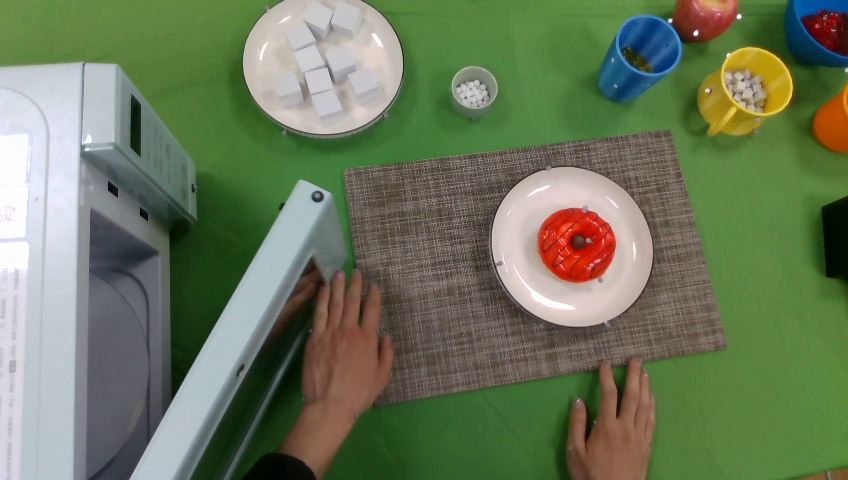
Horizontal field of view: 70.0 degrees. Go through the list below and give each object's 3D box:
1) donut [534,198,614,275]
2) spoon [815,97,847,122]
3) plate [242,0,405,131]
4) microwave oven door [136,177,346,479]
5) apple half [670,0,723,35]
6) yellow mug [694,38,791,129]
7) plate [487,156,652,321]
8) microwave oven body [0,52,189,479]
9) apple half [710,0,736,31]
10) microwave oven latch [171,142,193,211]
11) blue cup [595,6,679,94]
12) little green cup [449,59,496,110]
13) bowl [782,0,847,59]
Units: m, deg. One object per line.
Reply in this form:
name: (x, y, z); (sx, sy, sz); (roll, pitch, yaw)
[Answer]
donut: (0.186, -0.004, 0.754); (0.099, 0.048, 0.098); (1, 78, -3)
spoon: (0.613, -0.160, 0.783); (0.041, 0.192, 0.022); (-50, 129, -12)
plate: (-0.130, -0.236, 0.797); (0.208, 0.039, 0.206); (1, 77, -4)
microwave oven door: (-0.177, 0.129, 0.587); (0.039, 0.244, 0.354); (25, 76, 3)
apple half: (0.371, -0.327, 0.840); (0.053, 0.075, 0.080); (-3, 80, -2)
yellow mug: (0.420, -0.200, 0.819); (0.100, 0.064, 0.130); (39, 78, 4)
plate: (0.180, -0.001, 0.765); (0.209, 0.038, 0.208); (1, 77, -4)
microwave oven body: (-0.415, 0.086, 0.583); (0.326, 0.261, 0.439); (-5, 78, -6)
apple half: (0.410, -0.330, 0.842); (0.033, 0.081, 0.081); (-2, 77, -2)
microwave oven latch: (-0.294, -0.076, 0.728); (0.030, 0.029, 0.079); (-1, 78, -5)
blue cup: (0.271, -0.241, 0.798); (0.093, 0.100, 0.092); (1, 79, -5)
little green cup: (0.062, -0.204, 0.805); (0.061, 0.039, 0.061); (1, 77, -4)
bowl: (0.564, -0.312, 0.849); (0.151, 0.077, 0.150); (1, 78, -4)
